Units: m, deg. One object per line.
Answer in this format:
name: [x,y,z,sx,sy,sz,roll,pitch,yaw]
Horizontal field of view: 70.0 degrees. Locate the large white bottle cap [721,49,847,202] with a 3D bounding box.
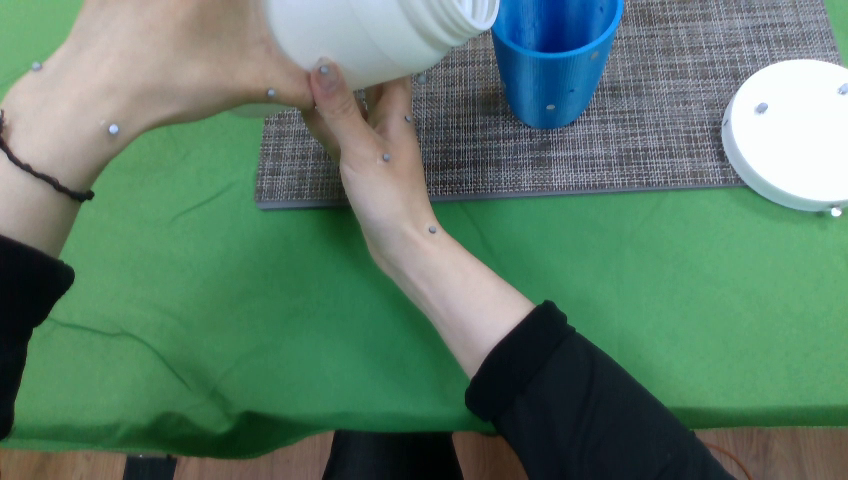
large white bottle cap: [0.272,-0.083,0.428,0.115,0.018,0.114,-1,72,4]

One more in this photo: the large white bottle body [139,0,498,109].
large white bottle body: [-0.059,-0.160,0.362,0.184,0.132,0.129,-7,66,27]

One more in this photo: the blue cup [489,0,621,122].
blue cup: [0.088,-0.135,0.425,0.092,0.101,0.092,-3,67,7]
